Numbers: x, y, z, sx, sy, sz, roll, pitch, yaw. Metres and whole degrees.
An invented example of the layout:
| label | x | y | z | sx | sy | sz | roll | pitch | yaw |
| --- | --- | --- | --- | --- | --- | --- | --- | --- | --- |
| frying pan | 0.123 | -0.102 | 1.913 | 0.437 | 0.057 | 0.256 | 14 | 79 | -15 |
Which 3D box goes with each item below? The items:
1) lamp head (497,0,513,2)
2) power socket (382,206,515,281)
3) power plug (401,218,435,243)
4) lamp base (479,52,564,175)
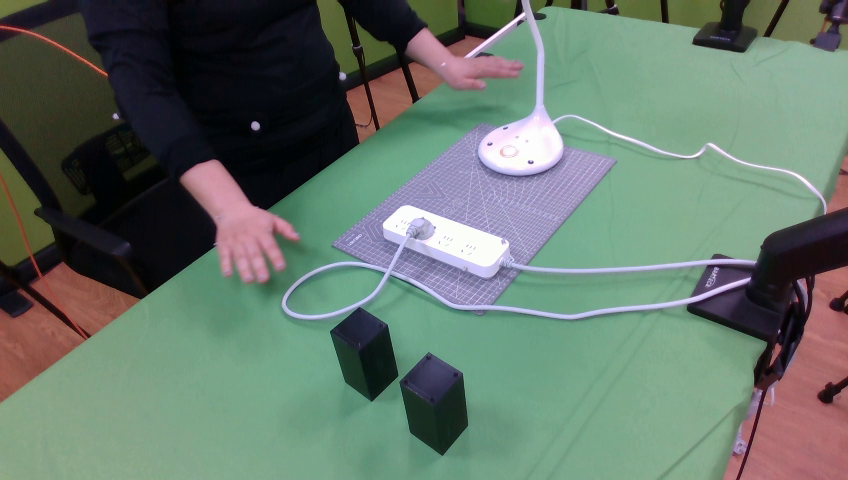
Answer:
| label | x | y | z | sx | sy | sz | roll | pitch | yaw |
| --- | --- | --- | --- | --- | --- | --- | --- | --- | --- |
| lamp head | 0.120 | -0.420 | 0.861 | 0.111 | 0.113 | 0.123 | 24 | 72 | 32 |
| power socket | 0.032 | 0.002 | 0.950 | 0.225 | 0.033 | 0.072 | 21 | 49 | 29 |
| power plug | -0.014 | -0.005 | 0.937 | 0.073 | 0.053 | 0.035 | -37 | 46 | -27 |
| lamp base | 0.181 | -0.236 | 1.095 | 0.159 | 0.181 | 0.179 | 19 | 44 | 28 |
